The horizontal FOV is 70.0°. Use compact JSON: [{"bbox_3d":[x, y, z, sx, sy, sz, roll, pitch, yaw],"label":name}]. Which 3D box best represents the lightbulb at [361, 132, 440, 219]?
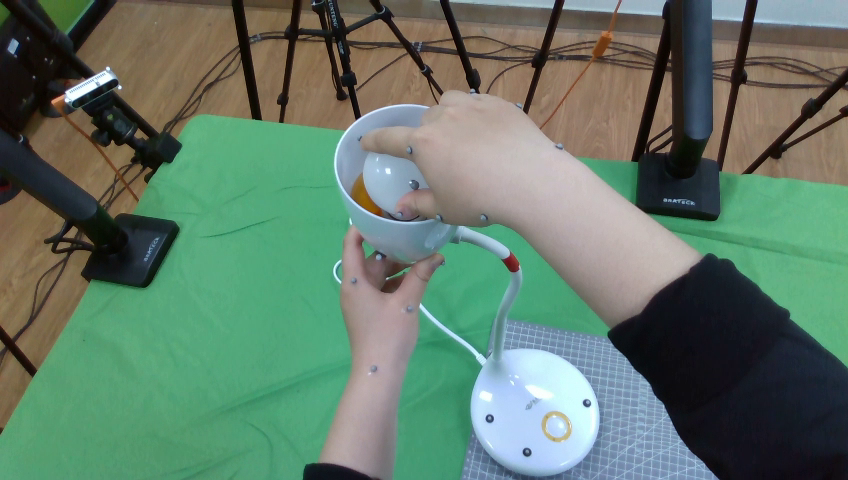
[{"bbox_3d":[-0.017,-0.041,0.476,0.059,0.108,0.059,0,68,1],"label":"lightbulb"}]

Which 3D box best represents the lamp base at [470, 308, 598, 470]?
[{"bbox_3d":[0.121,0.159,0.706,0.177,0.182,0.160,33,65,27],"label":"lamp base"}]

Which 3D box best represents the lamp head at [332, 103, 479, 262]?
[{"bbox_3d":[-0.011,-0.033,0.501,0.112,0.124,0.111,-2,60,3],"label":"lamp head"}]
